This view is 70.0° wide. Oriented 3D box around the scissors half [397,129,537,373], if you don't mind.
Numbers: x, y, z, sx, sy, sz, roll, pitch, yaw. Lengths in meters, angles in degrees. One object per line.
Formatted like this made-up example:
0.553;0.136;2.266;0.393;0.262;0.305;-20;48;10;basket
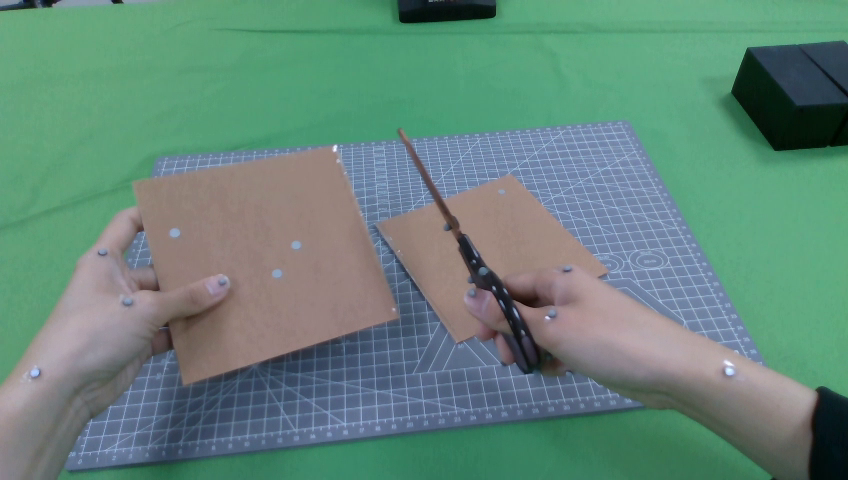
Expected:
0.022;0.003;0.378;0.013;0.040;0.174;-27;79;-4;scissors half

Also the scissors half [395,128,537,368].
0.019;-0.003;0.359;0.013;0.040;0.173;-29;64;1;scissors half

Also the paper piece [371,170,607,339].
0.048;0.003;0.479;0.138;0.009;0.134;-21;54;-19;paper piece

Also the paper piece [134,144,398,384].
-0.099;0.007;0.388;0.136;0.004;0.134;-14;74;-22;paper piece
